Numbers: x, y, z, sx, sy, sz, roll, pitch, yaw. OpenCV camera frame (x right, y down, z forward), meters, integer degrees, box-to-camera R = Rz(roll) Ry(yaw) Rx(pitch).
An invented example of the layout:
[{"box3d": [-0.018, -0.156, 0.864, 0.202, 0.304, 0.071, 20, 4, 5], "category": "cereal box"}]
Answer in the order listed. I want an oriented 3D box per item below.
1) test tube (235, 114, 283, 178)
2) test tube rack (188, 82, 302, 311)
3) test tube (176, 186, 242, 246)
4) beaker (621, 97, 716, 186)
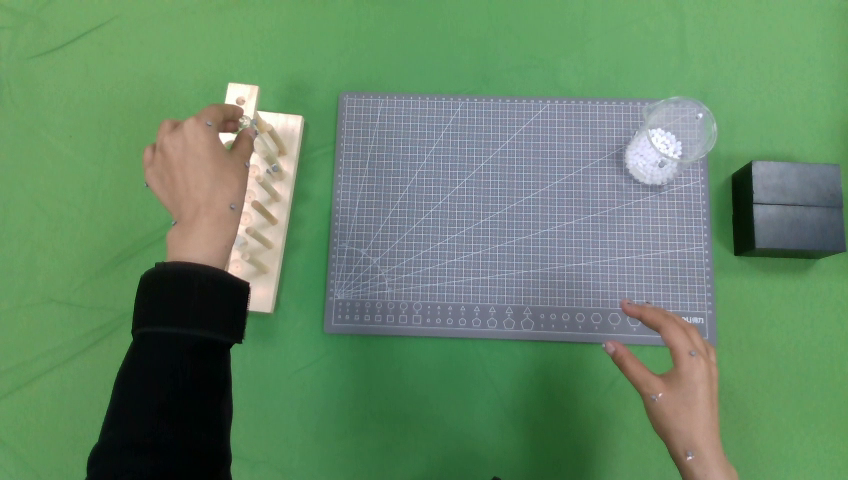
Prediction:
[{"box3d": [-0.176, -0.098, 0.654, 0.017, 0.151, 0.017, 0, 76, 0], "category": "test tube"}, {"box3d": [-0.198, -0.046, 0.690, 0.067, 0.085, 0.241, 6, 79, 3], "category": "test tube rack"}, {"box3d": [-0.222, -0.021, 0.636, 0.017, 0.151, 0.017, -1, 73, 2], "category": "test tube"}, {"box3d": [0.268, -0.108, 0.686, 0.084, 0.100, 0.074, 33, 81, 8], "category": "beaker"}]
